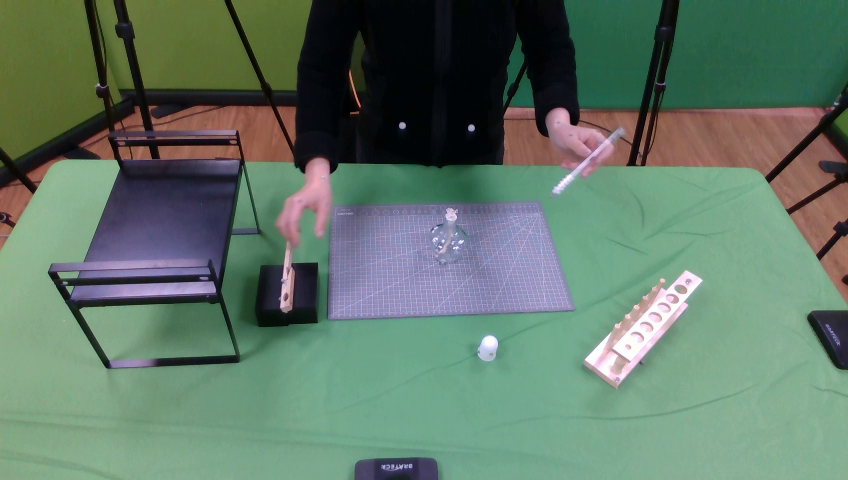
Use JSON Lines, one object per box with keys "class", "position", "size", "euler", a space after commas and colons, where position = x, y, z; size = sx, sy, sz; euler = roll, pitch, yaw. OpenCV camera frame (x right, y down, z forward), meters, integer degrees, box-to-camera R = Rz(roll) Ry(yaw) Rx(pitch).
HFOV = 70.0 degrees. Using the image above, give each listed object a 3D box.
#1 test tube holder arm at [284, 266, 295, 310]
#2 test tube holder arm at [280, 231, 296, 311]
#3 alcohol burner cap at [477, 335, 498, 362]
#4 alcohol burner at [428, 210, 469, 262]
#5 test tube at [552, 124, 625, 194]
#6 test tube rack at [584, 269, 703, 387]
{"class": "test tube holder arm", "position": [-0.229, 0.081, 1.034], "size": [0.010, 0.015, 0.087], "euler": [-13, 46, 6]}
{"class": "test tube holder arm", "position": [-0.238, 0.050, 1.066], "size": [0.013, 0.015, 0.177], "euler": [-12, 46, 6]}
{"class": "alcohol burner cap", "position": [0.108, 0.179, 1.017], "size": [0.034, 0.048, 0.033], "euler": [3, 51, -4]}
{"class": "alcohol burner", "position": [0.048, -0.014, 1.146], "size": [0.078, 0.119, 0.077], "euler": [3, 48, -3]}
{"class": "test tube", "position": [0.267, -0.130, 0.989], "size": [0.150, 0.017, 0.017], "euler": [-45, 51, 15]}
{"class": "test tube rack", "position": [0.380, 0.139, 1.045], "size": [0.066, 0.085, 0.242], "euler": [37, 54, 28]}
